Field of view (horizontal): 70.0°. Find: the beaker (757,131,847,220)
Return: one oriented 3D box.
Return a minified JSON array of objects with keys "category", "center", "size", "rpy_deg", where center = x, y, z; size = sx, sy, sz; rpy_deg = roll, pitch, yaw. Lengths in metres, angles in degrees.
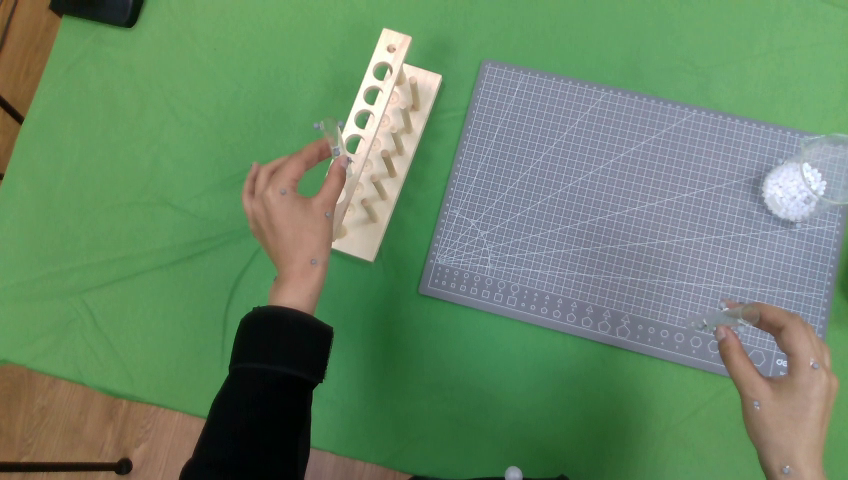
[{"category":"beaker","center":[0.411,-0.067,0.651],"size":[0.074,0.100,0.083],"rpy_deg":[-42,79,-4]}]

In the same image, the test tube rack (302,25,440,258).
[{"category":"test tube rack","center":[-0.055,-0.109,0.690],"size":[0.066,0.085,0.241],"rpy_deg":[19,82,7]}]

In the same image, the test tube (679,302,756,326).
[{"category":"test tube","center":[0.255,0.067,0.537],"size":[0.017,0.151,0.017],"rpy_deg":[-1,80,6]}]

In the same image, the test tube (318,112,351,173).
[{"category":"test tube","center":[-0.087,-0.090,0.605],"size":[0.017,0.151,0.017],"rpy_deg":[0,77,-1]}]
